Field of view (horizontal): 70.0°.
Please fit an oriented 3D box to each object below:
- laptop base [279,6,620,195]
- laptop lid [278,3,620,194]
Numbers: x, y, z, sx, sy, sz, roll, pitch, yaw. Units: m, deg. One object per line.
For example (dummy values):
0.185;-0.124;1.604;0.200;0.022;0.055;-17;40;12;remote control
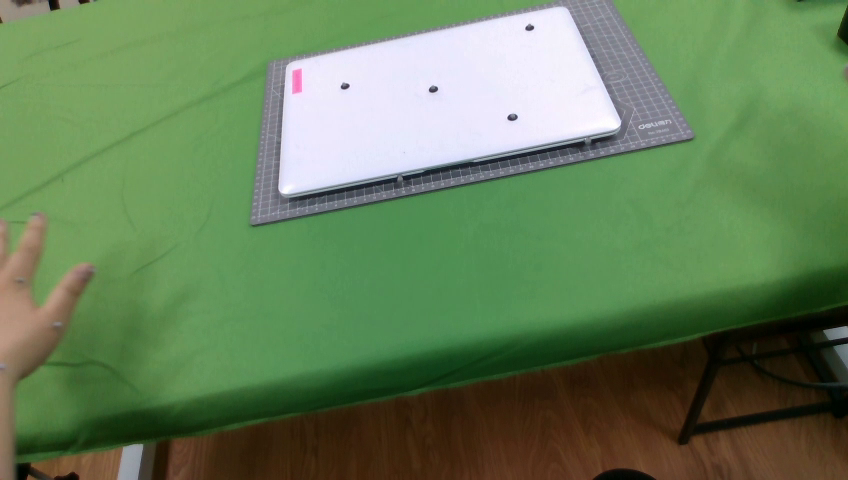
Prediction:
0.013;-0.162;0.684;0.354;0.023;0.233;-11;52;3;laptop base
0.011;-0.167;0.673;0.356;0.013;0.239;-9;51;4;laptop lid
